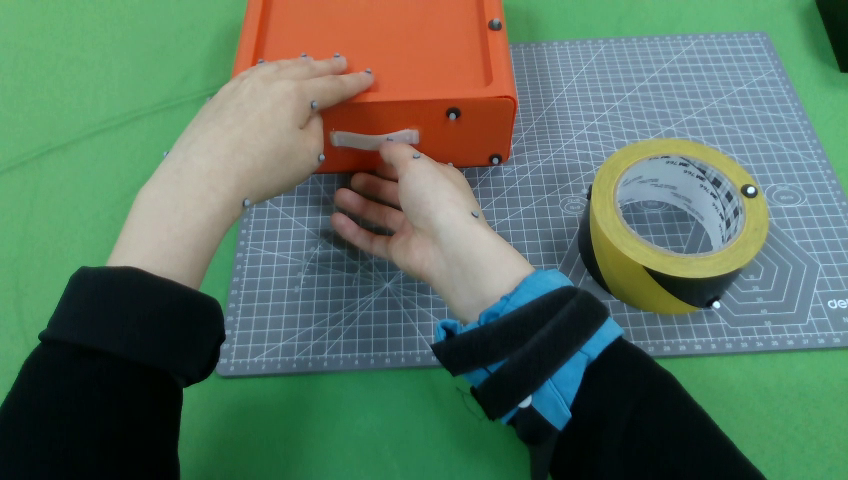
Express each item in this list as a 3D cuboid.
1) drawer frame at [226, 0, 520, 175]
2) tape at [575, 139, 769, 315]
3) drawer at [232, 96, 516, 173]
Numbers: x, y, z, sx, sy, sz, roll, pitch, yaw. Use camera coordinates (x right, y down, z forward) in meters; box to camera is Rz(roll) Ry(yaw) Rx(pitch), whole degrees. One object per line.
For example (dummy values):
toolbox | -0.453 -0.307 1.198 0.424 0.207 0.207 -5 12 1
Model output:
drawer frame | -0.037 -0.158 0.489 0.202 0.083 0.211 -3 57 1
tape | 0.165 -0.009 0.408 0.117 0.053 0.116 -1 59 2
drawer | -0.035 -0.156 0.489 0.194 0.074 0.209 -2 58 1
